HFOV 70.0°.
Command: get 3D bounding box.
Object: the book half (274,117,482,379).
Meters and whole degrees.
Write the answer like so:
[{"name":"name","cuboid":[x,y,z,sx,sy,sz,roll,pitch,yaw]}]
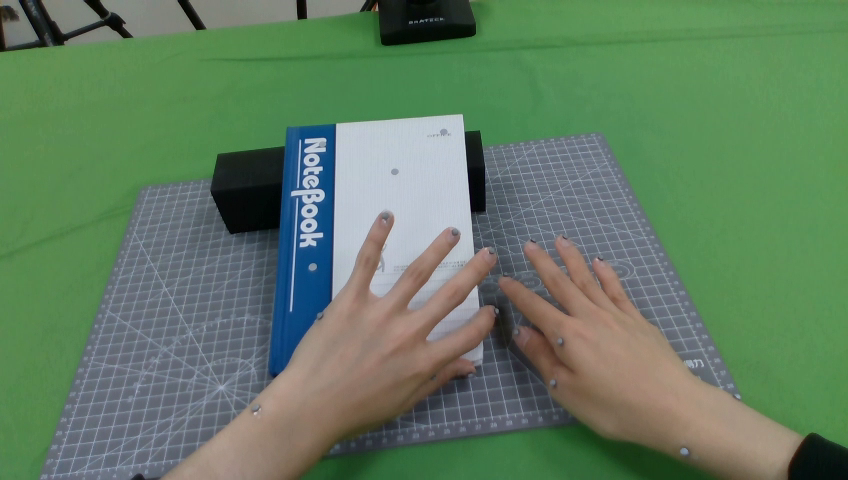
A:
[{"name":"book half","cuboid":[-0.036,-0.003,0.455,0.143,0.007,0.208,-4,63,2]}]
